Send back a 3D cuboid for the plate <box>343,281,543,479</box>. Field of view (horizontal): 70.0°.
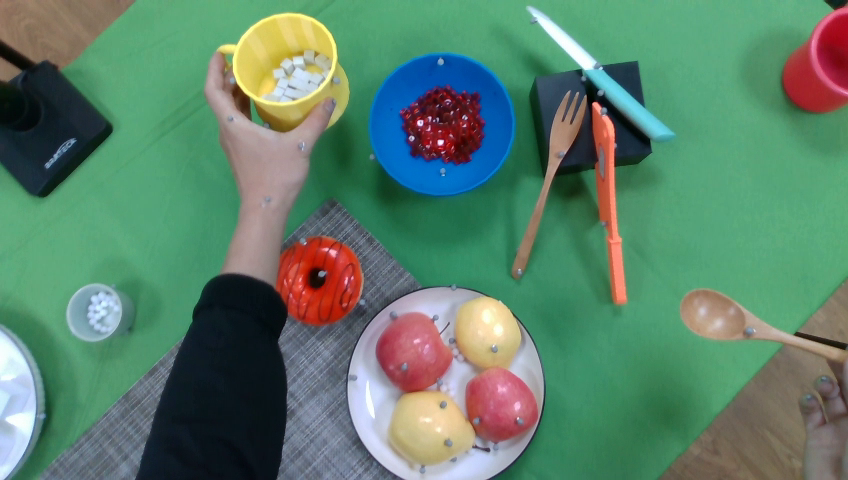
[{"bbox_3d":[0.020,0.147,0.642,0.209,0.038,0.208,0,84,2],"label":"plate"}]

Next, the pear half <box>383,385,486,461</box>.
[{"bbox_3d":[0.015,0.195,0.623,0.110,0.056,0.076,19,90,-2],"label":"pear half"}]

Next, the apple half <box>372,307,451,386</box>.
[{"bbox_3d":[-0.015,0.113,0.628,0.074,0.053,0.080,-27,88,0],"label":"apple half"}]

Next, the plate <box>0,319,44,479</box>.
[{"bbox_3d":[-0.512,0.177,0.661,0.207,0.039,0.207,0,85,2],"label":"plate"}]

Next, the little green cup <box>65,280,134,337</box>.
[{"bbox_3d":[-0.353,0.075,0.665,0.061,0.039,0.061,0,84,3],"label":"little green cup"}]

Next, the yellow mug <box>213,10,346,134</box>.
[{"bbox_3d":[-0.147,-0.168,0.600,0.130,0.064,0.099,14,75,7],"label":"yellow mug"}]

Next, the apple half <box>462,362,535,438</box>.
[{"bbox_3d":[0.069,0.168,0.621,0.081,0.033,0.081,3,99,20],"label":"apple half"}]

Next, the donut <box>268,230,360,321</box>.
[{"bbox_3d":[-0.118,0.038,0.653,0.099,0.048,0.099,0,86,4],"label":"donut"}]

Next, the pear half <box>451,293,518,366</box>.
[{"bbox_3d":[0.060,0.100,0.631,0.070,0.031,0.088,-15,94,24],"label":"pear half"}]

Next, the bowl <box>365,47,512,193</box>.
[{"bbox_3d":[0.016,-0.119,0.651,0.151,0.077,0.151,0,85,2],"label":"bowl"}]

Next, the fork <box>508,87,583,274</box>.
[{"bbox_3d":[0.123,-0.057,0.637,0.028,0.018,0.208,15,105,-4],"label":"fork"}]

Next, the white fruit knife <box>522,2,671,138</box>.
[{"bbox_3d":[0.176,-0.179,0.633,0.207,0.016,0.027,46,58,7],"label":"white fruit knife"}]

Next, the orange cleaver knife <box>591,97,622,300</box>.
[{"bbox_3d":[0.190,-0.041,0.636,0.012,0.077,0.212,-8,110,6],"label":"orange cleaver knife"}]

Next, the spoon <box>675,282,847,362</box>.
[{"bbox_3d":[0.300,0.080,0.486,0.192,0.022,0.041,19,77,21],"label":"spoon"}]
